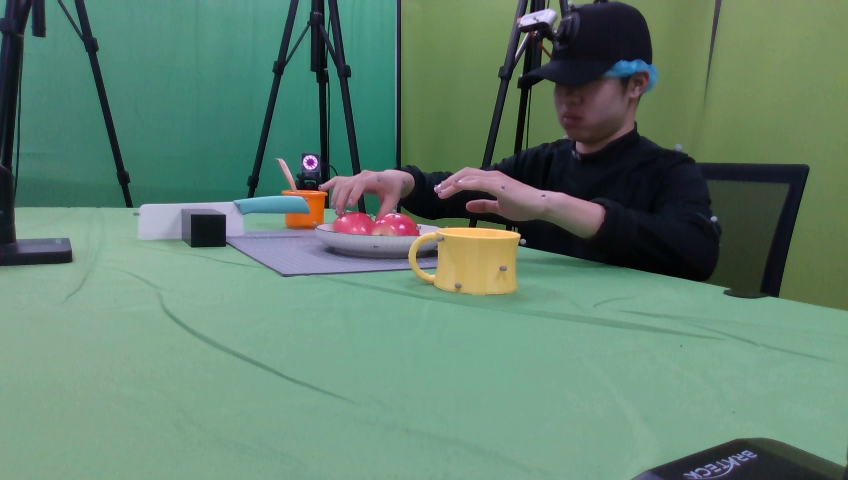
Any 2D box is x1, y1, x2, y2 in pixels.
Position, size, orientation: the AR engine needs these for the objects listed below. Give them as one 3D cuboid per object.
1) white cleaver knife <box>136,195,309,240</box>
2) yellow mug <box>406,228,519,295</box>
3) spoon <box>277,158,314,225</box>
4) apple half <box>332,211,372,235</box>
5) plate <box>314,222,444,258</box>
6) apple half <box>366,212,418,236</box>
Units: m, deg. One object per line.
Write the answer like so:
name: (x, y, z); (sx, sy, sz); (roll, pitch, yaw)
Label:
white cleaver knife: (-0.337, -0.039, 1.037); (0.288, 0.066, 0.021); (-6, 14, -29)
yellow mug: (0.044, 0.022, 0.707); (0.131, 0.064, 0.100); (2, 7, 5)
spoon: (-0.272, -0.103, 1.260); (0.042, 0.193, 0.021); (-4, -34, -33)
apple half: (-0.107, -0.027, 0.990); (0.081, 0.033, 0.081); (16, 19, -5)
plate: (-0.066, -0.002, 0.948); (0.209, 0.038, 0.209); (3, 7, 0)
apple half: (-0.049, -0.017, 0.938); (0.080, 0.053, 0.075); (10, 6, 30)
